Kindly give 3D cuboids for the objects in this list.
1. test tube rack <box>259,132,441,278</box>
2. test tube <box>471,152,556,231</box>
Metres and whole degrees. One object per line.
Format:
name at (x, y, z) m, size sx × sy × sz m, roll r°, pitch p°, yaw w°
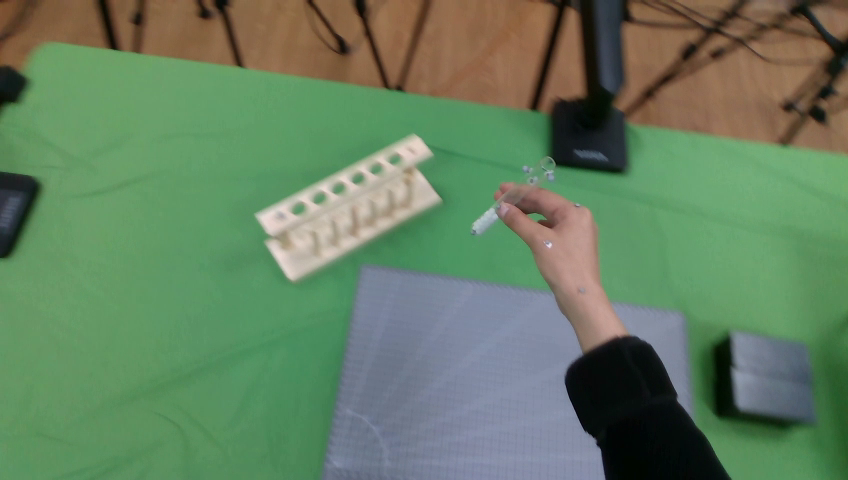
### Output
test tube rack at (-0.091, -0.049, 0.815) m, size 0.242 × 0.086 × 0.066 m, roll -29°, pitch 69°, yaw -18°
test tube at (0.083, -0.043, 0.590) m, size 0.017 × 0.150 × 0.017 m, roll 9°, pitch 65°, yaw -19°
